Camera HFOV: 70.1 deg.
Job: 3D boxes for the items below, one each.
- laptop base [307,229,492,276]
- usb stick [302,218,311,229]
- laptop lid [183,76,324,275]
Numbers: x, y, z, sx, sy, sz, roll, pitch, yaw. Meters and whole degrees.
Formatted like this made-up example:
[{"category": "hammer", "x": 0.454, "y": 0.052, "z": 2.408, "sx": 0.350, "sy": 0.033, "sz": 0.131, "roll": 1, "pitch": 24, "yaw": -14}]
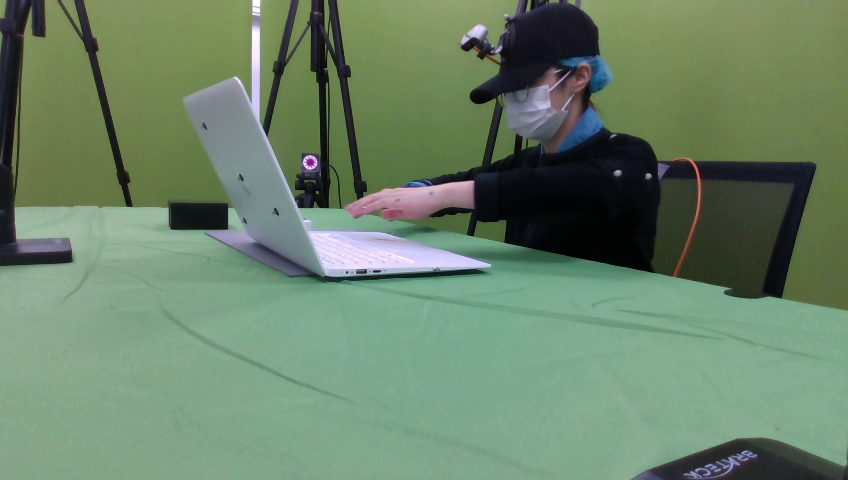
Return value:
[{"category": "laptop base", "x": -0.094, "y": 0.015, "z": 0.888, "sx": 0.237, "sy": 0.023, "sz": 0.352, "roll": 1, "pitch": 7, "yaw": -30}, {"category": "usb stick", "x": -0.235, "y": -0.025, "z": 1.102, "sx": 0.021, "sy": 0.027, "sz": 0.059, "roll": 9, "pitch": 13, "yaw": 37}, {"category": "laptop lid", "x": -0.237, "y": -0.085, "z": 0.791, "sx": 0.013, "sy": 0.242, "sz": 0.355, "roll": -29, "pitch": 22, "yaw": -23}]
